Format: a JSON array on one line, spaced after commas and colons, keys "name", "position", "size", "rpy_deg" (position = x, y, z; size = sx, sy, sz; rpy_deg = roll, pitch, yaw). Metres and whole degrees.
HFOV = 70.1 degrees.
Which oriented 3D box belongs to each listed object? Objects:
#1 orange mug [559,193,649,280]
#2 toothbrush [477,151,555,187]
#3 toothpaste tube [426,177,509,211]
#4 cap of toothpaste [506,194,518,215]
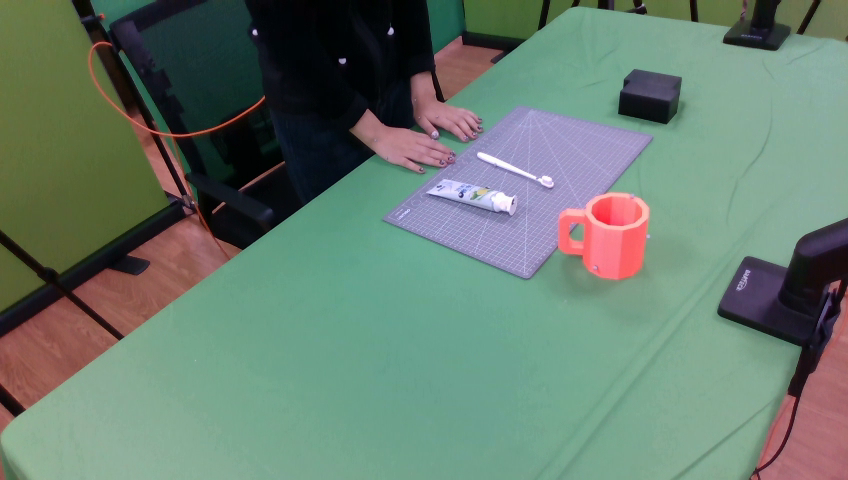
[{"name": "orange mug", "position": [0.261, -0.008, 0.884], "size": [0.126, 0.101, 0.083], "rpy_deg": [9, 43, 14]}, {"name": "toothbrush", "position": [0.164, -0.133, 1.107], "size": [0.180, 0.017, 0.014], "rpy_deg": [30, 69, 39]}, {"name": "toothpaste tube", "position": [0.083, -0.081, 1.054], "size": [0.164, 0.034, 0.055], "rpy_deg": [18, 40, 34]}, {"name": "cap of toothpaste", "position": [0.146, -0.059, 1.008], "size": [0.011, 0.037, 0.037], "rpy_deg": [14, 46, 22]}]
